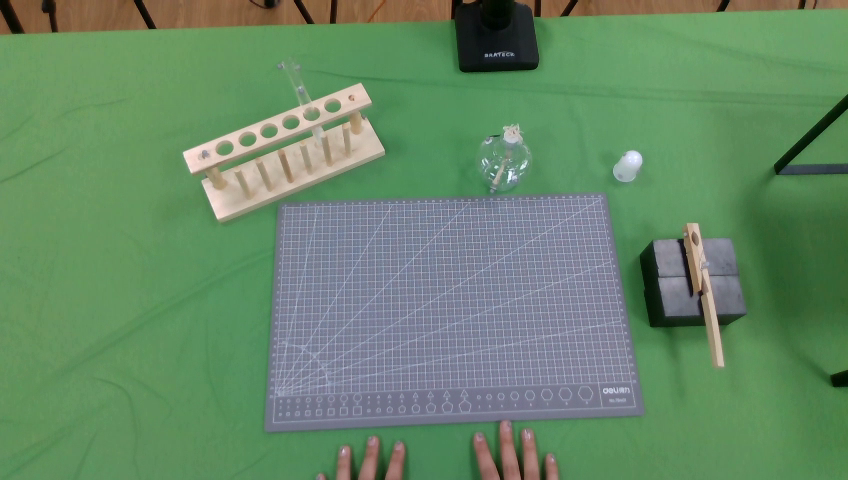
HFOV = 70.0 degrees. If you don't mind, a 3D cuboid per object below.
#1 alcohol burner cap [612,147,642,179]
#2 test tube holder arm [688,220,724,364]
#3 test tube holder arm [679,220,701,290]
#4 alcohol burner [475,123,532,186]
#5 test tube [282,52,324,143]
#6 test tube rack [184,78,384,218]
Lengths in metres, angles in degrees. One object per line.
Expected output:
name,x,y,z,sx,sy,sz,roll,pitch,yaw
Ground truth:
alcohol burner cap,0.281,-0.108,0.833,0.034,0.048,0.033,0,67,0
test tube holder arm,0.337,0.060,0.729,0.013,0.015,0.177,-3,70,-3
test tube holder arm,0.328,0.018,0.744,0.010,0.015,0.087,-2,70,-3
alcohol burner,0.107,-0.120,0.795,0.078,0.120,0.077,1,69,-1
test tube,-0.149,-0.176,0.770,0.017,0.151,0.017,-4,58,7
test tube rack,-0.178,-0.121,0.803,0.242,0.086,0.066,-25,70,-11
